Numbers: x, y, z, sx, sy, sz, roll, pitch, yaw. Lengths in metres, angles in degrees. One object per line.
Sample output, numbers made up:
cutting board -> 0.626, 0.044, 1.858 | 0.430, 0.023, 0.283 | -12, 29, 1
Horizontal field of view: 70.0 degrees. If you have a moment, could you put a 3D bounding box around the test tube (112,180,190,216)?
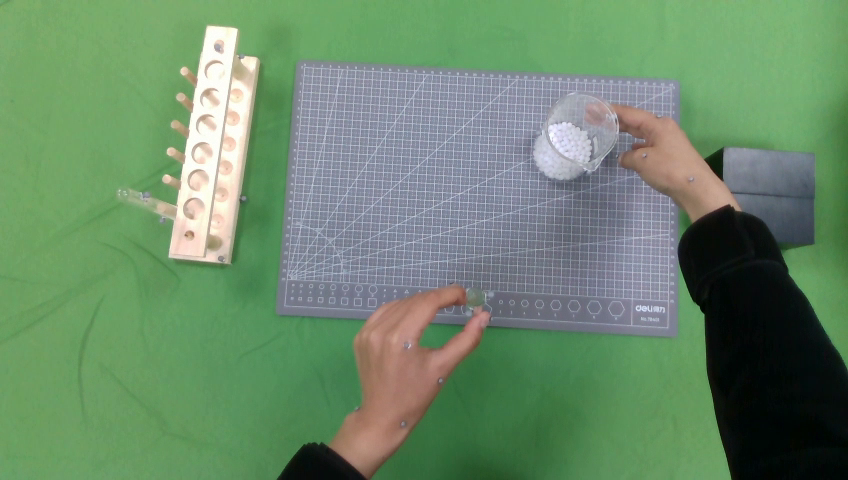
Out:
test tube -> -0.271, -0.039, 0.608 | 0.017, 0.151, 0.017 | 0, 84, 0

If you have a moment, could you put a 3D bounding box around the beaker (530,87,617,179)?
beaker -> 0.157, -0.108, 0.652 | 0.074, 0.100, 0.083 | -16, 84, -2

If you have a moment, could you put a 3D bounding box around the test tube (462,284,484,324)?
test tube -> 0.042, 0.059, 0.537 | 0.017, 0.151, 0.017 | -1, 76, 3

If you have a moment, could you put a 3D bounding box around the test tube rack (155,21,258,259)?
test tube rack -> -0.241, -0.106, 0.661 | 0.067, 0.085, 0.241 | 6, 84, 1
